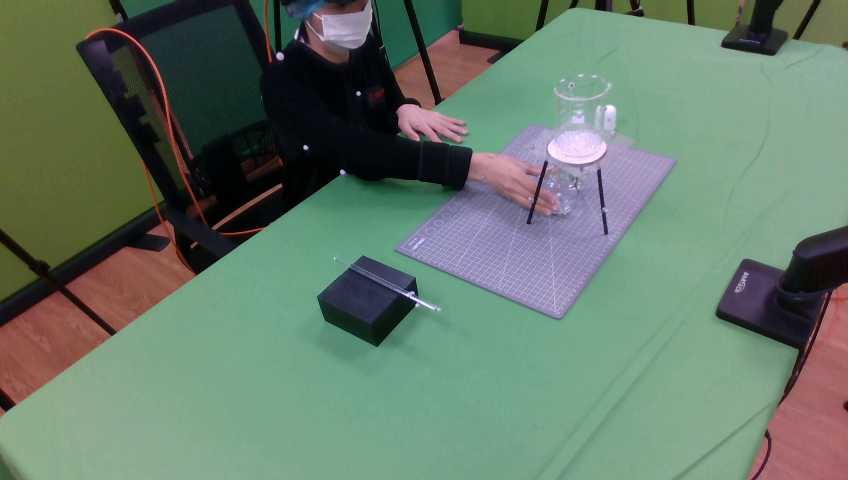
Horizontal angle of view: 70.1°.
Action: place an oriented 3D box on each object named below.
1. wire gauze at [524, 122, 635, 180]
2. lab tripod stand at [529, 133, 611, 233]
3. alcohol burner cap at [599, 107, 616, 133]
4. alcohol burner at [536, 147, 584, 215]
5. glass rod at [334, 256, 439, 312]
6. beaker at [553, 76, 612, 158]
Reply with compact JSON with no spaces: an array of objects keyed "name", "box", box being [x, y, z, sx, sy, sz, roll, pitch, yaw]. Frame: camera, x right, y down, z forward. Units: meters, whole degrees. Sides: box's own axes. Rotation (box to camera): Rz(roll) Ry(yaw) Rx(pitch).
[{"name":"wire gauze","box":[0.233,-0.142,0.913,0.122,0.011,0.124,-31,42,-26]},{"name":"lab tripod stand","box":[0.236,-0.088,0.953,0.148,0.132,0.147,-5,42,5]},{"name":"alcohol burner cap","box":[0.361,-0.239,1.189,0.034,0.048,0.033,-4,39,4]},{"name":"alcohol burner","box":[0.223,-0.101,0.985,0.078,0.119,0.077,-3,41,3]},{"name":"glass rod","box":[-0.058,0.060,0.850,0.198,0.008,0.008,24,49,33]},{"name":"beaker","box":[0.230,-0.178,0.882,0.084,0.101,0.073,-9,41,1]}]
